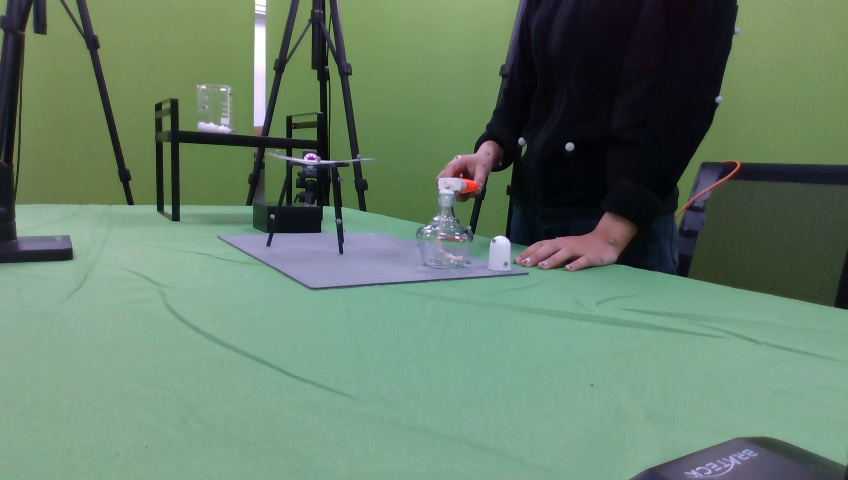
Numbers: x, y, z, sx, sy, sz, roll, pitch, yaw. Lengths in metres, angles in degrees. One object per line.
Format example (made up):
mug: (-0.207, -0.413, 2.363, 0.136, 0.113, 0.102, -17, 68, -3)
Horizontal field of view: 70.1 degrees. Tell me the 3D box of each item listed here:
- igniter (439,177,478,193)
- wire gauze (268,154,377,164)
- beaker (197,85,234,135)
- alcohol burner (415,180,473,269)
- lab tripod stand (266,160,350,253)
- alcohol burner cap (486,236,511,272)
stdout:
igniter: (0.056, -0.087, 0.959, 0.057, 0.025, 0.277, 2, 5, 8)
wire gauze: (-0.154, -0.120, 0.910, 0.122, 0.011, 0.124, -5, 11, -44)
beaker: (-0.444, -0.275, 1.283, 0.074, 0.100, 0.084, 5, 8, 22)
alcohol burner: (0.028, -0.021, 0.807, 0.078, 0.119, 0.078, 3, 5, 0)
lab tripod stand: (-0.163, -0.054, 0.915, 0.148, 0.131, 0.148, 2, 9, 0)
alcohol burner cap: (0.101, 0.019, 0.802, 0.034, 0.048, 0.034, 3, 7, 0)
